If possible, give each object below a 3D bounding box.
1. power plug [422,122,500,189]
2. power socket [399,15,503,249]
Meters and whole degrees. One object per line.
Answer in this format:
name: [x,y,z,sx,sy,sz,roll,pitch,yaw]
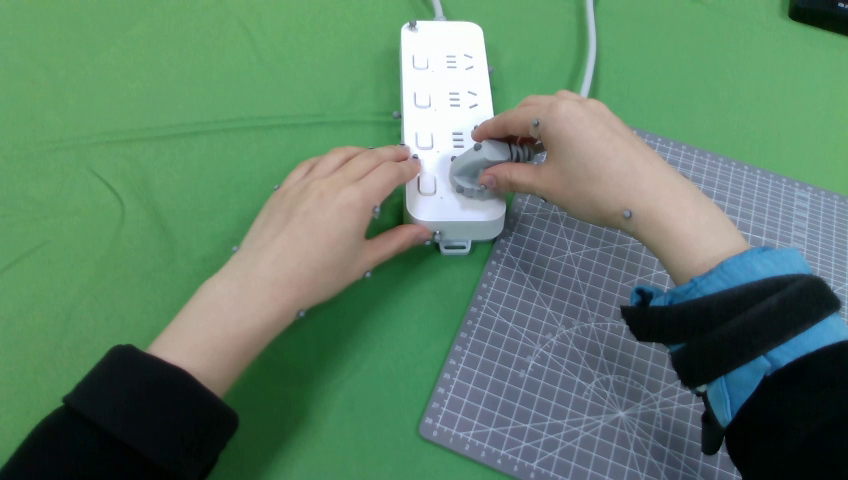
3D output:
power plug: [0.018,-0.063,0.424,0.072,0.035,0.052,19,62,34]
power socket: [0.017,-0.097,0.471,0.072,0.033,0.224,1,58,-4]
